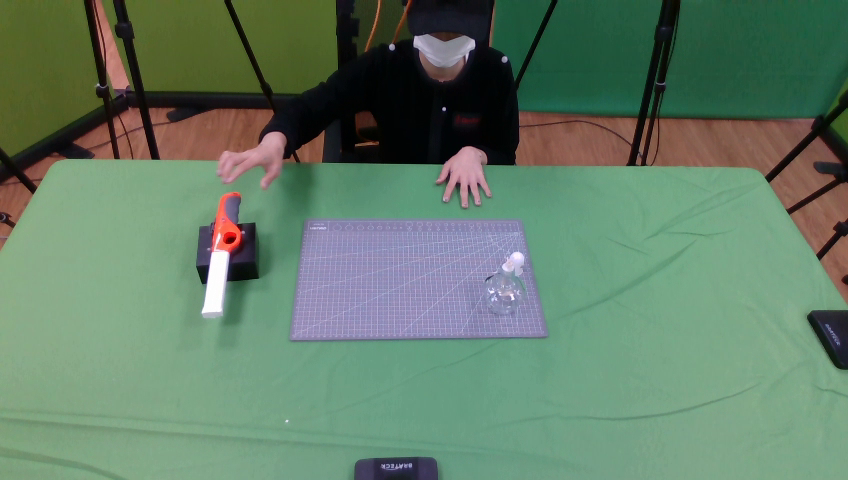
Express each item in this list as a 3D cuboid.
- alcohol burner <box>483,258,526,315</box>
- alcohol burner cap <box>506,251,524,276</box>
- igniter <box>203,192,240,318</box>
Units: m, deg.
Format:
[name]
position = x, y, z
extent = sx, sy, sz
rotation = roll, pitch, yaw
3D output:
[alcohol burner]
position = 0.143, 0.076, 1.067
extent = 0.078, 0.120, 0.077
rotation = 1, 45, -1
[alcohol burner cap]
position = 0.175, 0.043, 1.151
extent = 0.034, 0.048, 0.033
rotation = 2, 46, -1
[igniter]
position = -0.361, 0.017, 1.085
extent = 0.057, 0.025, 0.274
rotation = -2, 51, -6
